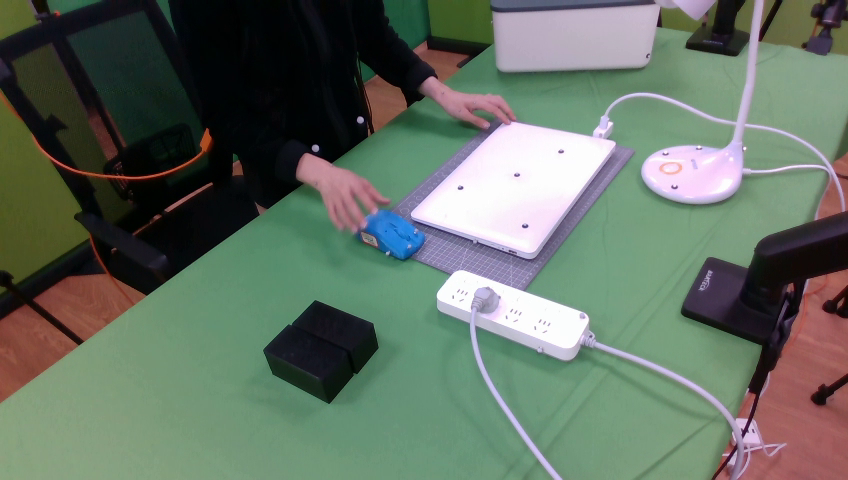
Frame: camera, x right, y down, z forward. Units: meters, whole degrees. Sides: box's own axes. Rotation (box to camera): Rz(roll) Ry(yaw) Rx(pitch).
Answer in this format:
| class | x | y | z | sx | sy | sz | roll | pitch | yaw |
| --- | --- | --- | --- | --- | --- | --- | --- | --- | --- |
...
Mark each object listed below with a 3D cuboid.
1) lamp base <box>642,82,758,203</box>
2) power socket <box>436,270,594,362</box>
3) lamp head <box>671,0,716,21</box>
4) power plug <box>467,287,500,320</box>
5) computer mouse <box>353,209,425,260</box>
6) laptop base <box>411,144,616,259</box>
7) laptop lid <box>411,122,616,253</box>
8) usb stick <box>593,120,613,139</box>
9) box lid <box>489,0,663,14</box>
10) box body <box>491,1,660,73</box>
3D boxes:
| class | x | y | z | sx | sy | sz | roll | pitch | yaw |
| --- | --- | --- | --- | --- | --- | --- | --- | --- | --- |
| lamp base | 0.464 | -0.174 | 0.992 | 0.179 | 0.181 | 0.159 | -5 | 41 | -1 |
| power socket | 0.118 | 0.101 | 0.832 | 0.225 | 0.033 | 0.072 | 19 | 48 | 27 |
| lamp head | 0.375 | -0.373 | 0.807 | 0.122 | 0.113 | 0.112 | -40 | 27 | 32 |
| power plug | 0.073 | 0.092 | 0.814 | 0.035 | 0.053 | 0.073 | 29 | 54 | 34 |
| computer mouse | -0.057 | -0.012 | 0.982 | 0.116 | 0.041 | 0.063 | 28 | 49 | 29 |
| laptop base | 0.168 | -0.101 | 1.073 | 0.234 | 0.023 | 0.355 | 17 | 46 | 30 |
| laptop lid | 0.165 | -0.111 | 1.067 | 0.240 | 0.013 | 0.357 | 19 | 46 | 31 |
| usb stick | 0.336 | -0.201 | 1.147 | 0.021 | 0.027 | 0.059 | 26 | 53 | 27 |
| box lid | 0.341 | -0.576 | 1.380 | 0.371 | 0.015 | 0.262 | 0 | 41 | 10 |
| box body | 0.347 | -0.521 | 1.429 | 0.363 | 0.161 | 0.253 | 1 | 41 | 9 |
